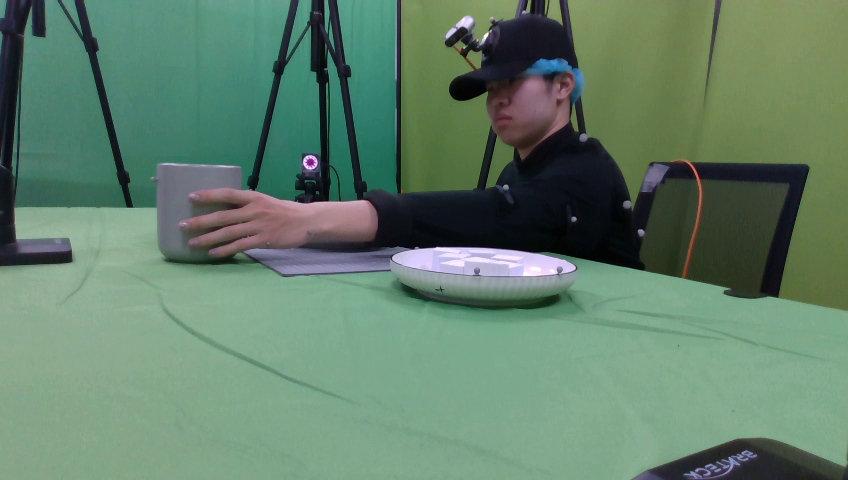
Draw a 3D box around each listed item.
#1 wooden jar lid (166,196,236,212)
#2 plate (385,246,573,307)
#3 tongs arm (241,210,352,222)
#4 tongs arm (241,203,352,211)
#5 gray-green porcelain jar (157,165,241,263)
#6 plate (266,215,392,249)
[{"bbox_3d":[-0.369,-0.059,1.001,0.108,0.020,0.108,3,6,0],"label":"wooden jar lid"},{"bbox_3d":[0.060,0.041,0.678,0.208,0.039,0.207,3,7,0],"label":"plate"},{"bbox_3d":[-0.337,-0.053,1.329,0.389,0.028,0.028,-1,6,-27],"label":"tongs arm"},{"bbox_3d":[-0.362,-0.068,1.406,0.386,0.026,0.050,2,9,-14],"label":"tongs arm"},{"bbox_3d":[-0.300,-0.036,0.811,0.106,0.126,0.106,2,7,0],"label":"gray-green porcelain jar"},{"bbox_3d":[-0.159,-0.015,1.019,0.209,0.038,0.209,3,7,0],"label":"plate"}]
